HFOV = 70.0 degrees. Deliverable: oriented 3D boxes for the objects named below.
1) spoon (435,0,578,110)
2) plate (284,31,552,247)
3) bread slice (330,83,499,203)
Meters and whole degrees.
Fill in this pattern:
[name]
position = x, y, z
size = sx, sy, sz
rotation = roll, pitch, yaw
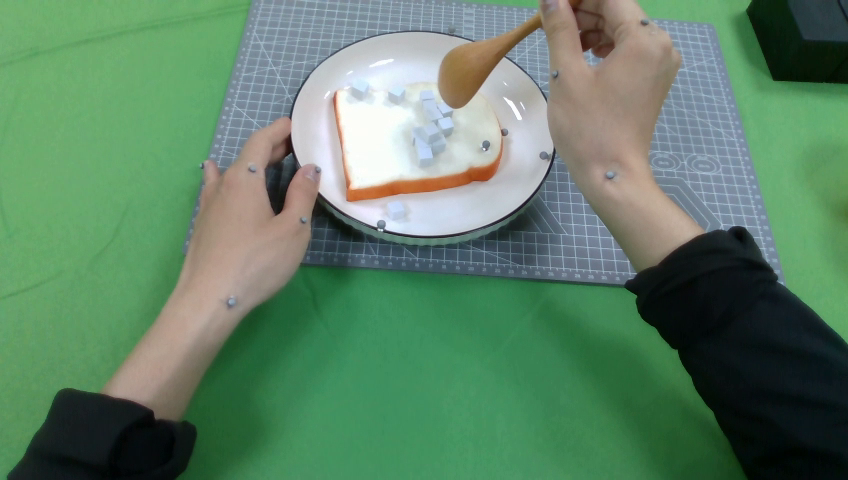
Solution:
[spoon]
position = 0.069, -0.142, 0.393
size = 0.022, 0.193, 0.041
rotation = -8, 76, -46
[plate]
position = -0.004, -0.081, 0.482
size = 0.209, 0.038, 0.207
rotation = 2, 60, -4
[bread slice]
position = -0.007, -0.085, 0.487
size = 0.132, 0.019, 0.104
rotation = -10, 62, -9
